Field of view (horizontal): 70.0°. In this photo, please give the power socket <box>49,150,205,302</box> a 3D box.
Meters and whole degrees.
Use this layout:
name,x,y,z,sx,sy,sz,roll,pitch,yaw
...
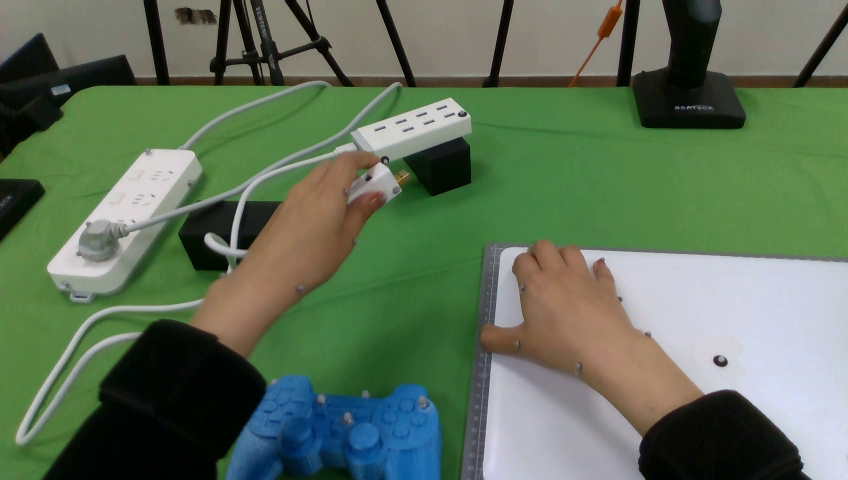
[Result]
name,x,y,z,sx,sy,sz,roll,pitch,yaw
power socket,-0.314,-0.027,0.660,0.072,0.033,0.225,5,44,10

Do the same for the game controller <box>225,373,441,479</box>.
name,x,y,z,sx,sy,sz,roll,pitch,yaw
game controller,-0.062,0.145,0.443,0.155,0.052,0.096,4,40,9

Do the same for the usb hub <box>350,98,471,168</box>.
name,x,y,z,sx,sy,sz,roll,pitch,yaw
usb hub,-0.014,-0.117,0.660,0.125,0.025,0.049,-22,47,-16

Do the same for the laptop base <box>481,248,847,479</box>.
name,x,y,z,sx,sy,sz,roll,pitch,yaw
laptop base,0.229,0.103,0.478,0.354,0.023,0.233,3,47,9

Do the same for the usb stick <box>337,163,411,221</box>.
name,x,y,z,sx,sy,sz,roll,pitch,yaw
usb stick,-0.039,-0.044,0.495,0.059,0.027,0.021,-35,31,-12

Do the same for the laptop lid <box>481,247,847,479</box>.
name,x,y,z,sx,sy,sz,roll,pitch,yaw
laptop lid,0.228,0.096,0.469,0.356,0.013,0.239,4,46,10

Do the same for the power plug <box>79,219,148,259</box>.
name,x,y,z,sx,sy,sz,roll,pitch,yaw
power plug,-0.300,0.008,0.586,0.072,0.053,0.035,14,46,16
